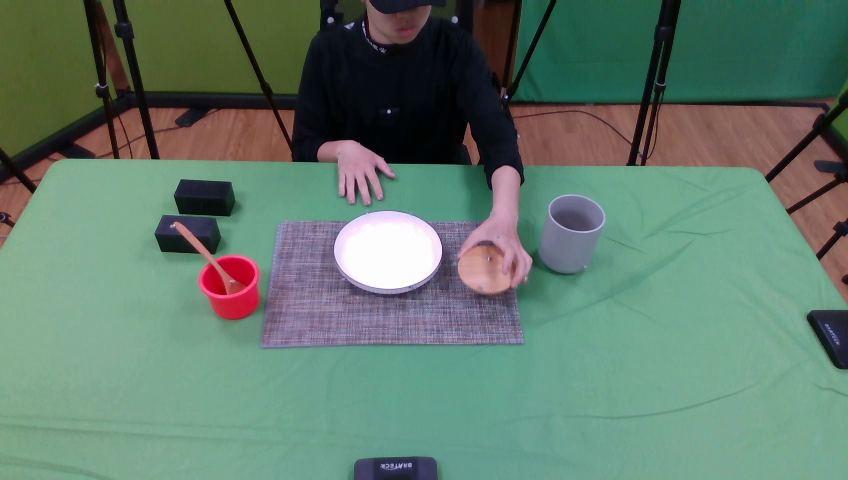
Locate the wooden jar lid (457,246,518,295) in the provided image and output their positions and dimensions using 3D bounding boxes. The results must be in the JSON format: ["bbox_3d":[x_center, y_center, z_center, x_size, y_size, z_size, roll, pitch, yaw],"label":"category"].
[{"bbox_3d":[0.114,0.057,1.088,0.108,0.021,0.107,0,50,0],"label":"wooden jar lid"}]

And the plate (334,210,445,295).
[{"bbox_3d":[-0.066,0.026,1.150,0.208,0.039,0.206,2,46,-2],"label":"plate"}]

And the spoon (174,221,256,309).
[{"bbox_3d":[-0.360,0.043,1.044,0.194,0.021,0.041,54,51,-14],"label":"spoon"}]

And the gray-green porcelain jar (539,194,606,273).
[{"bbox_3d":[0.277,-0.007,1.151,0.106,0.127,0.105,2,46,-1],"label":"gray-green porcelain jar"}]
